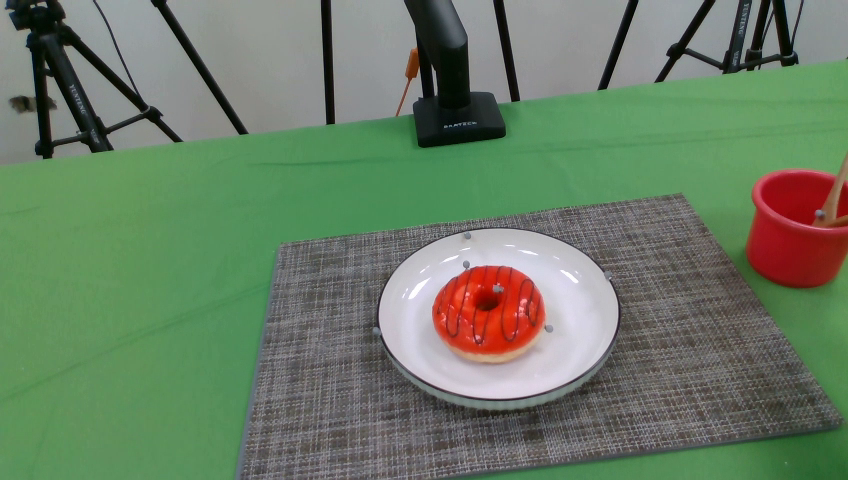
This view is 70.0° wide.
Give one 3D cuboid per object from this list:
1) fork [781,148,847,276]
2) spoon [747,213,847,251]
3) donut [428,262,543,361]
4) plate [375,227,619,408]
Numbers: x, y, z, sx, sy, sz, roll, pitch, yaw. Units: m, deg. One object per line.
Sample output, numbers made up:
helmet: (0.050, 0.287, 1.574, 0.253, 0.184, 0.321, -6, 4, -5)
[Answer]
fork: (0.382, -0.060, 0.550, 0.019, 0.207, 0.028, 23, 4, -20)
spoon: (0.360, -0.016, 0.510, 0.041, 0.193, 0.021, -37, 93, -22)
donut: (0.053, 0.061, 0.522, 0.099, 0.049, 0.098, -5, 42, 5)
plate: (0.063, 0.065, 0.533, 0.209, 0.038, 0.207, -4, 39, 3)
